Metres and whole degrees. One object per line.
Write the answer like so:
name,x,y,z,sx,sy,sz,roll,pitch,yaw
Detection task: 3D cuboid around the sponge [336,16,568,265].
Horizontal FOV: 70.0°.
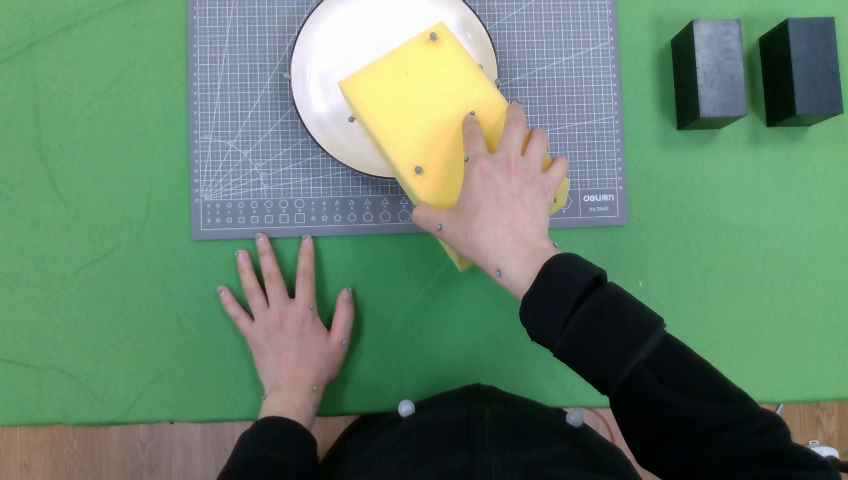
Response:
sponge,0.024,-0.095,0.567,0.118,0.061,0.205,-33,72,-4

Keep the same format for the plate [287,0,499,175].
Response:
plate,-0.030,-0.166,0.615,0.209,0.038,0.208,0,87,-3
